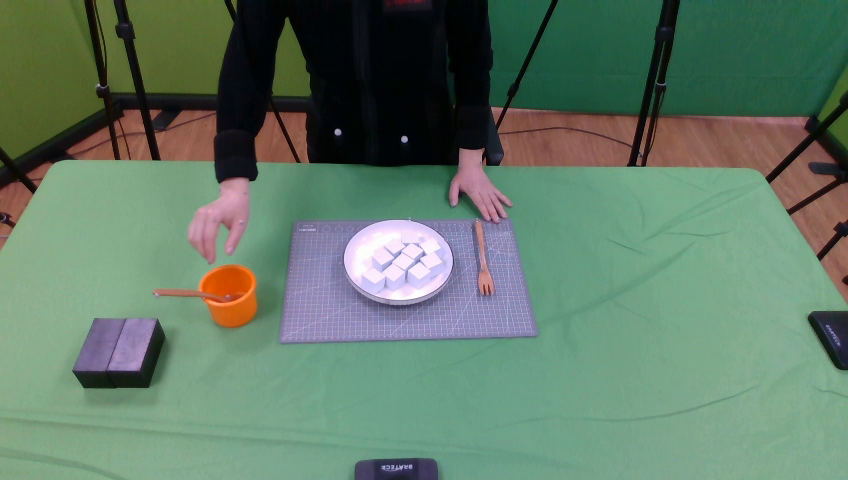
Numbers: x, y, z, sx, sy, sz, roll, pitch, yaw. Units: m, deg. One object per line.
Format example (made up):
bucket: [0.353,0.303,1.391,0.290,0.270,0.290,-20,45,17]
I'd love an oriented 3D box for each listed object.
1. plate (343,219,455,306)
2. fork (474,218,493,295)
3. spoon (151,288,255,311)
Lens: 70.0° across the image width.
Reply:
plate: [-0.047,0.045,1.136,0.208,0.039,0.206,2,46,-2]
fork: [0.112,0.029,1.177,0.028,0.019,0.206,-2,48,0]
spoon: [-0.357,0.092,0.992,0.021,0.195,0.041,-46,59,13]
